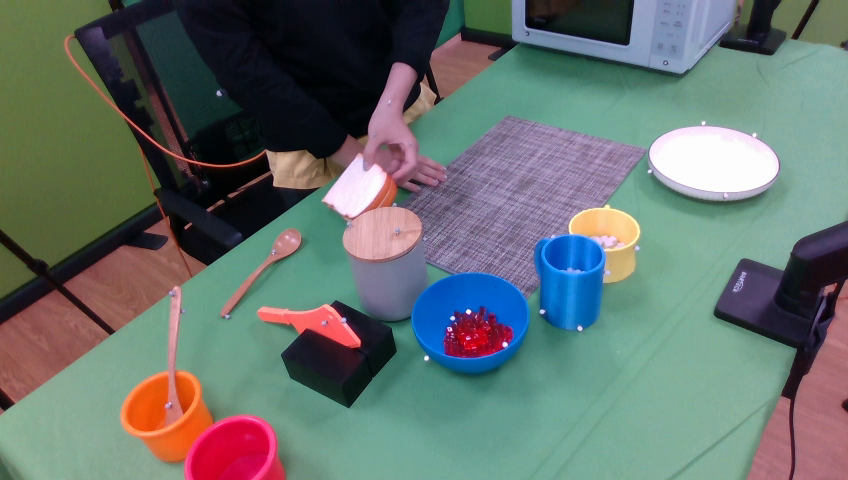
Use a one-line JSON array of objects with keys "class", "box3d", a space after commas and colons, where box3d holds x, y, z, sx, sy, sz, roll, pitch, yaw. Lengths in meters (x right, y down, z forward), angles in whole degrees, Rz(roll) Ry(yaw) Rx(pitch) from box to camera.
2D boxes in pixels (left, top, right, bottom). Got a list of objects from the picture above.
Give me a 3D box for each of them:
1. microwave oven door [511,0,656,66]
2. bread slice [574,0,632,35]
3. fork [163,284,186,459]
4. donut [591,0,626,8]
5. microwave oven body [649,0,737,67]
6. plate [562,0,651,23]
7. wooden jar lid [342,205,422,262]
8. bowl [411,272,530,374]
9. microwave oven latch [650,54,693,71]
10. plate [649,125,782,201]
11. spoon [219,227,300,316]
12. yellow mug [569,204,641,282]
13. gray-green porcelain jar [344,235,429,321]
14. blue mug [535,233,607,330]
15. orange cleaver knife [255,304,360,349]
[{"class": "microwave oven door", "box3d": [0.351, -0.539, 1.349, 0.353, 0.245, 0.039, 24, 50, 31]}, {"class": "bread slice", "box3d": [0.430, -0.561, 1.477, 0.105, 0.019, 0.131, -28, 68, -21]}, {"class": "fork", "box3d": [-0.302, 0.157, 0.733, 0.028, 0.019, 0.207, -3, 84, 15]}, {"class": "donut", "box3d": [0.437, -0.588, 1.433, 0.099, 0.048, 0.098, -2, 53, 4]}, {"class": "microwave oven body", "box3d": [0.475, -0.602, 1.411, 0.438, 0.261, 0.327, 23, 50, 32]}, {"class": "plate", "box3d": [0.439, -0.572, 1.456, 0.209, 0.038, 0.208, -6, 44, 6]}, {"class": "wooden jar lid", "box3d": [-0.055, -0.006, 0.808, 0.108, 0.021, 0.108, -6, 40, 6]}, {"class": "bowl", "box3d": [0.061, 0.120, 0.780, 0.151, 0.077, 0.150, -4, 40, 4]}, {"class": "microwave oven latch", "box3d": [0.531, -0.386, 1.301, 0.078, 0.029, 0.030, 26, 51, 33]}, {"class": "plate", "box3d": [0.493, -0.128, 1.036, 0.207, 0.039, 0.206, -4, 41, 4]}, {"class": "spoon", "box3d": [-0.261, 0.046, 0.954, 0.041, 0.021, 0.194, 27, 48, 10]}, {"class": "yellow mug", "box3d": [0.268, -0.005, 0.904, 0.099, 0.064, 0.130, 7, 41, 15]}, {"class": "gray-green porcelain jar", "box3d": [-0.049, 0.042, 0.849, 0.106, 0.127, 0.105, -4, 41, 4]}, {"class": "blue mug", "box3d": [0.191, 0.048, 0.824, 0.082, 0.106, 0.115, -26, 44, -20]}, {"class": "orange cleaver knife", "box3d": [-0.161, 0.115, 0.813, 0.210, 0.077, 0.012, -4, 32, 47]}]
